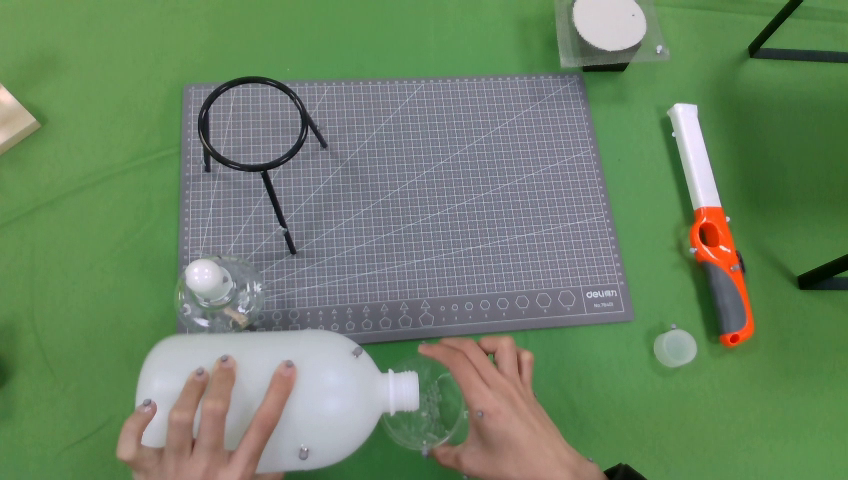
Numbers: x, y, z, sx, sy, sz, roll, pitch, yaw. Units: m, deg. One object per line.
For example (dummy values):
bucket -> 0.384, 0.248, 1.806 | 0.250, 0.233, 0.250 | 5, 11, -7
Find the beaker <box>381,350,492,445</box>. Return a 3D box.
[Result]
beaker -> 0.012, 0.136, 0.525 | 0.083, 0.101, 0.073 | 2, 76, 22

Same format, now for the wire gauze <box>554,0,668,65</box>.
wire gauze -> 0.205, -0.252, 0.681 | 0.122, 0.011, 0.124 | -2, 72, -6

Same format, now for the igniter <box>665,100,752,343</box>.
igniter -> 0.306, -0.027, 0.656 | 0.057, 0.025, 0.274 | 0, 71, -17

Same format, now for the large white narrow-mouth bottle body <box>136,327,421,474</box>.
large white narrow-mouth bottle body -> -0.100, 0.117, 0.456 | 0.195, 0.102, 0.101 | -2, 71, -4

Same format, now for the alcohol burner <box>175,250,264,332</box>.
alcohol burner -> -0.182, 0.041, 0.533 | 0.078, 0.119, 0.077 | 3, 69, -7

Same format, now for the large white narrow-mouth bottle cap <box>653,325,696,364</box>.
large white narrow-mouth bottle cap -> 0.252, 0.106, 0.610 | 0.038, 0.024, 0.037 | 2, 70, -4

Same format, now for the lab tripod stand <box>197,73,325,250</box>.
lab tripod stand -> -0.147, -0.077, 0.567 | 0.149, 0.132, 0.147 | 2, 71, -7

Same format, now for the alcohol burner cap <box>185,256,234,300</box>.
alcohol burner cap -> -0.178, 0.030, 0.499 | 0.034, 0.048, 0.033 | 1, 76, -5

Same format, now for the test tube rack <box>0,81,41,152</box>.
test tube rack -> -0.499, -0.077, 0.557 | 0.066, 0.085, 0.242 | 43, 72, 9
